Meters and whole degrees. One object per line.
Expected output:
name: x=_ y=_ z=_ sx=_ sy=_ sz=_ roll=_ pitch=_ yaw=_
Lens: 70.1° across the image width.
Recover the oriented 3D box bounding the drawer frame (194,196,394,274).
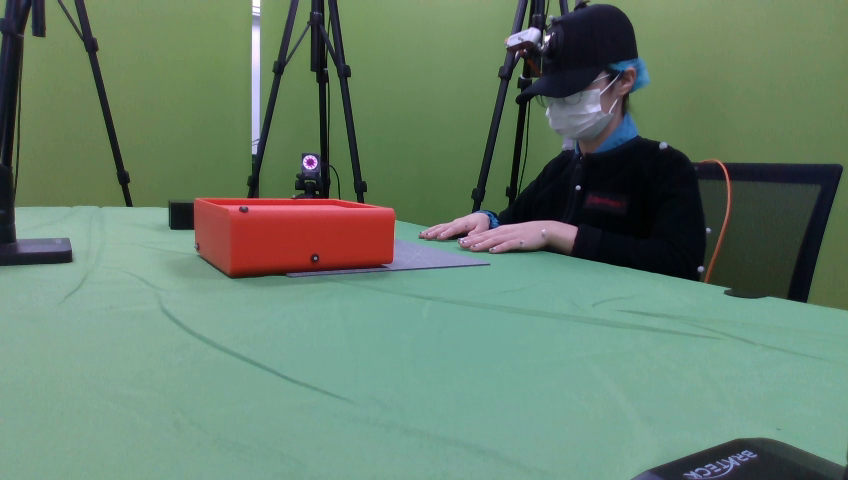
drawer frame: x=-0.178 y=-0.014 z=0.815 sx=0.215 sy=0.082 sz=0.200 roll=-4 pitch=9 yaw=-32

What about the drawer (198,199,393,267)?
drawer: x=-0.177 y=-0.014 z=0.817 sx=0.213 sy=0.073 sz=0.193 roll=-3 pitch=9 yaw=-31

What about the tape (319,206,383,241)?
tape: x=-0.129 y=-0.030 z=1.076 sx=0.117 sy=0.052 sz=0.117 roll=2 pitch=8 yaw=0
